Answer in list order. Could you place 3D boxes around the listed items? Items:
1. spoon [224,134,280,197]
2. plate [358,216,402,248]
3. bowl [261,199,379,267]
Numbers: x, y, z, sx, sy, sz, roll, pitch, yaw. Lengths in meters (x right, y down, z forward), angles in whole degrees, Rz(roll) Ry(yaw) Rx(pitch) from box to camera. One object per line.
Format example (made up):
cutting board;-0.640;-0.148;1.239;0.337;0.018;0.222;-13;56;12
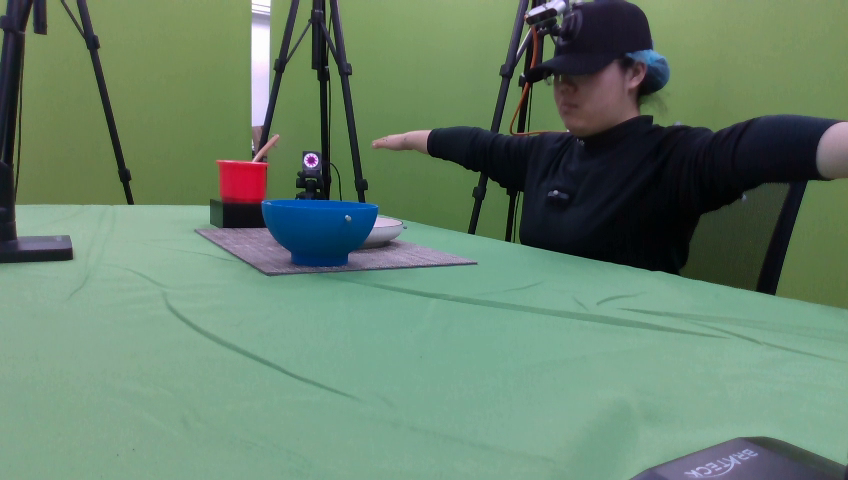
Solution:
spoon;-0.333;-0.150;1.192;0.041;0.022;0.194;6;52;24
plate;-0.140;-0.015;0.993;0.208;0.039;0.207;3;7;0
bowl;-0.135;-0.009;0.786;0.151;0.077;0.151;3;7;0
